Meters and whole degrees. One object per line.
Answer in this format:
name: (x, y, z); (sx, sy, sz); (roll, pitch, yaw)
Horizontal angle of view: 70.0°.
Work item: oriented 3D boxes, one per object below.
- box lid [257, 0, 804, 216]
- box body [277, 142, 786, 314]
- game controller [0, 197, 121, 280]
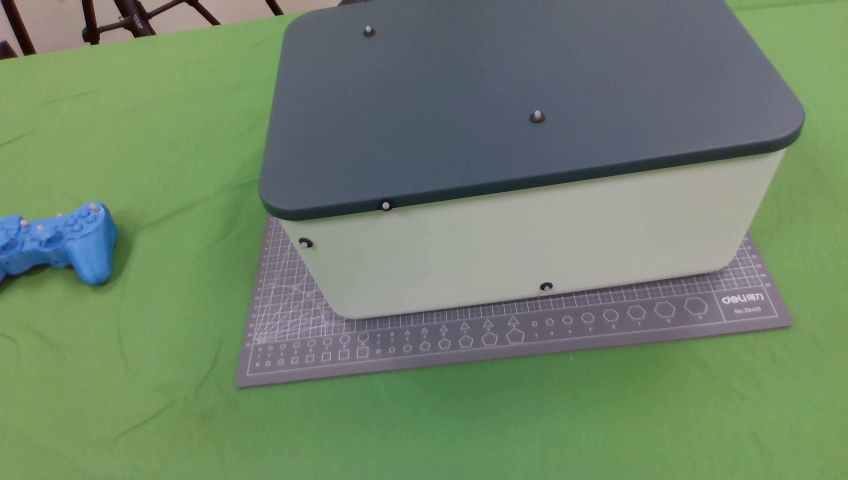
box lid: (0.058, -0.137, 0.474); (0.371, 0.015, 0.260); (-8, 49, 4)
box body: (0.072, -0.090, 0.530); (0.364, 0.162, 0.251); (-8, 49, 4)
game controller: (-0.390, 0.001, 0.618); (0.155, 0.052, 0.096); (-7, 46, 4)
